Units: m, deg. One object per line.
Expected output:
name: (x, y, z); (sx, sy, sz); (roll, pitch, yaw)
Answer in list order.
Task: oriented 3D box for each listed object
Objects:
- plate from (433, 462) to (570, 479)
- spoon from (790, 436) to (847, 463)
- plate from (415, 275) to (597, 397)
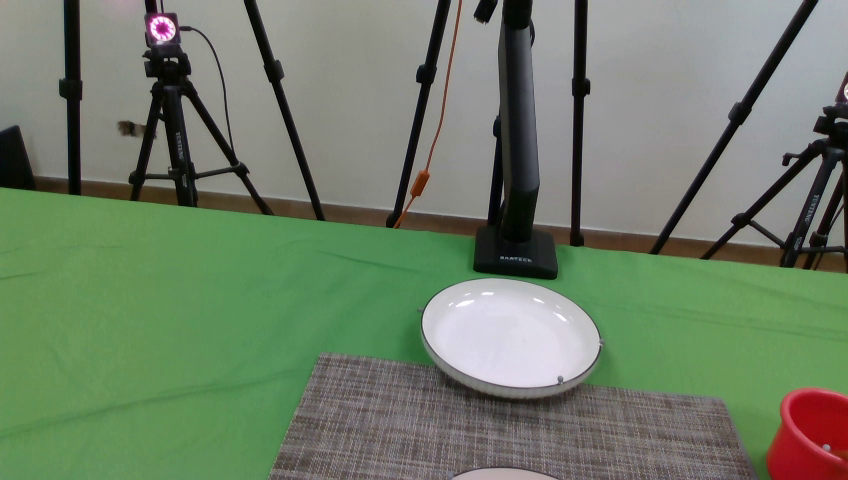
plate: (0.068, 0.262, 0.452); (0.209, 0.038, 0.207); (3, 31, -1)
spoon: (0.358, 0.184, 0.519); (0.041, 0.021, 0.195); (18, -10, 20)
plate: (0.092, 0.112, 0.705); (0.208, 0.039, 0.206); (4, 29, -2)
